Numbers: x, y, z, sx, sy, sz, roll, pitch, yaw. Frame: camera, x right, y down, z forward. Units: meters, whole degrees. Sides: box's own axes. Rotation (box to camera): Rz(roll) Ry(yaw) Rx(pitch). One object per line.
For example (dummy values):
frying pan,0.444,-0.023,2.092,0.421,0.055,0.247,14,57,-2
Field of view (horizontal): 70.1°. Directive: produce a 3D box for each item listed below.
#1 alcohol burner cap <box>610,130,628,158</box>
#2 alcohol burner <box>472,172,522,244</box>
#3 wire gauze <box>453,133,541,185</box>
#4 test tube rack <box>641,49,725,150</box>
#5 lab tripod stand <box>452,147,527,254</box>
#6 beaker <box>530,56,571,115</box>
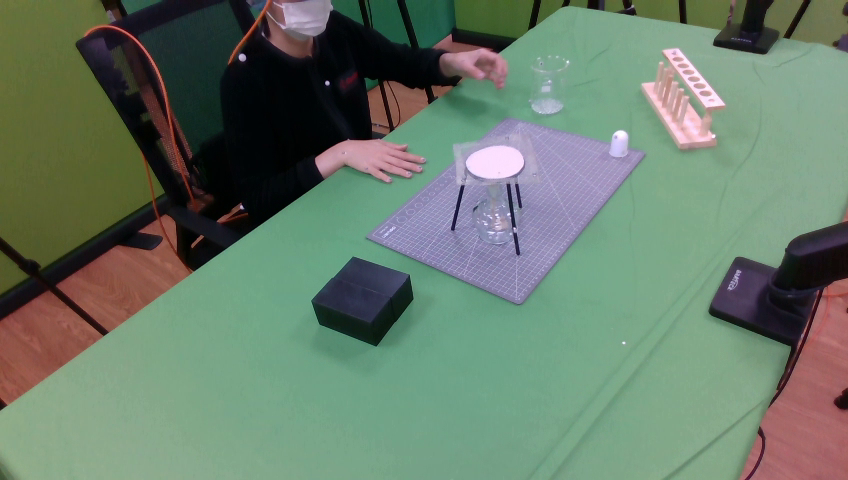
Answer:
alcohol burner cap,0.359,-0.177,1.106,0.034,0.048,0.033,-5,41,5
alcohol burner,0.112,-0.053,0.942,0.078,0.119,0.077,-6,40,5
wire gauze,0.105,-0.120,0.902,0.125,0.011,0.121,-5,41,5
test tube rack,0.495,-0.279,1.175,0.067,0.085,0.241,-5,41,3
lab tripod stand,0.111,-0.066,0.943,0.148,0.132,0.147,-5,42,5
beaker,0.259,-0.316,1.244,0.084,0.101,0.073,-12,41,-5
